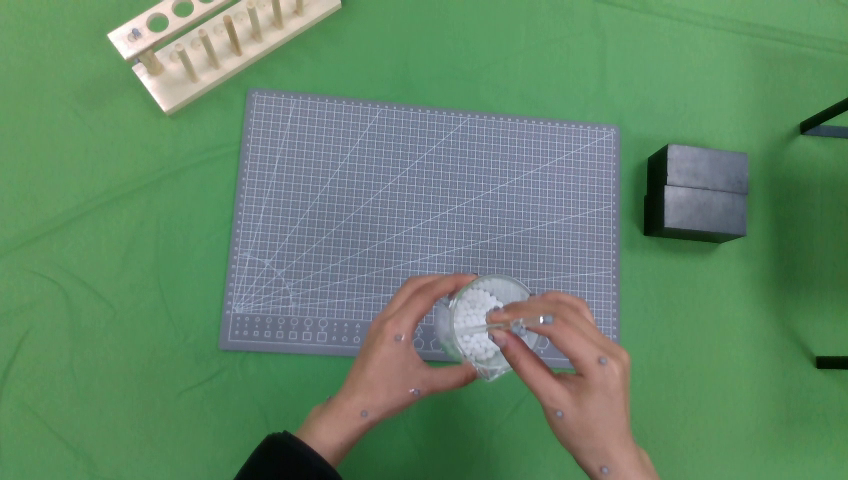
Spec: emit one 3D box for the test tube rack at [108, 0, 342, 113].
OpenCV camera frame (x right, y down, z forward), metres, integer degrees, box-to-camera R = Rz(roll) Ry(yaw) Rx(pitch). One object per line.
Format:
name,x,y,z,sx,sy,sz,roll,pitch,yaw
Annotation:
test tube rack,-0.210,-0.247,0.673,0.242,0.085,0.066,-37,85,-11

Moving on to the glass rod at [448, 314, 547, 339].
glass rod,0.047,0.066,0.449,0.008,0.200,0.008,3,78,-13

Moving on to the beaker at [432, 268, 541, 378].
beaker,0.047,0.071,0.509,0.074,0.100,0.083,9,80,-7
